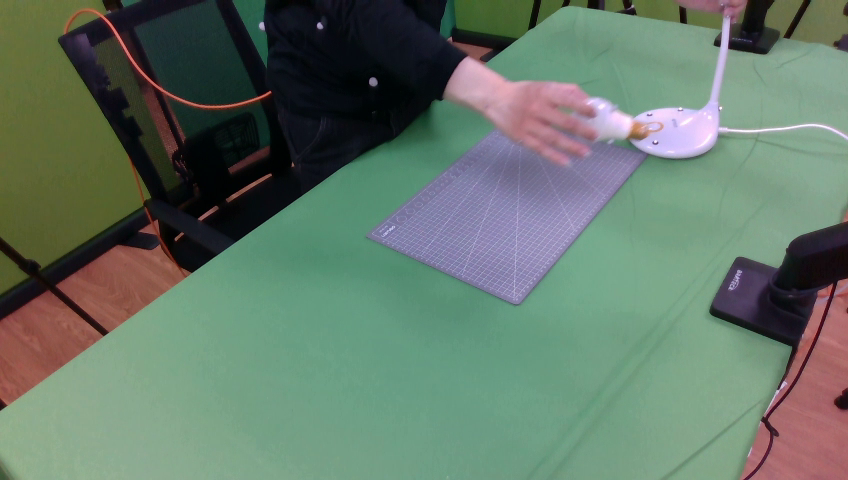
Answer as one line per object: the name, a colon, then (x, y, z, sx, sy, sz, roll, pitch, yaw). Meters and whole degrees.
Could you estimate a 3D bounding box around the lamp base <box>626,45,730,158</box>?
lamp base: (0.468, -0.262, 1.085, 0.179, 0.181, 0.159, -4, 41, -1)

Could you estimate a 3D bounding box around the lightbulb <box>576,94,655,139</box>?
lightbulb: (0.257, -0.160, 0.810, 0.108, 0.059, 0.059, 15, 42, -1)
